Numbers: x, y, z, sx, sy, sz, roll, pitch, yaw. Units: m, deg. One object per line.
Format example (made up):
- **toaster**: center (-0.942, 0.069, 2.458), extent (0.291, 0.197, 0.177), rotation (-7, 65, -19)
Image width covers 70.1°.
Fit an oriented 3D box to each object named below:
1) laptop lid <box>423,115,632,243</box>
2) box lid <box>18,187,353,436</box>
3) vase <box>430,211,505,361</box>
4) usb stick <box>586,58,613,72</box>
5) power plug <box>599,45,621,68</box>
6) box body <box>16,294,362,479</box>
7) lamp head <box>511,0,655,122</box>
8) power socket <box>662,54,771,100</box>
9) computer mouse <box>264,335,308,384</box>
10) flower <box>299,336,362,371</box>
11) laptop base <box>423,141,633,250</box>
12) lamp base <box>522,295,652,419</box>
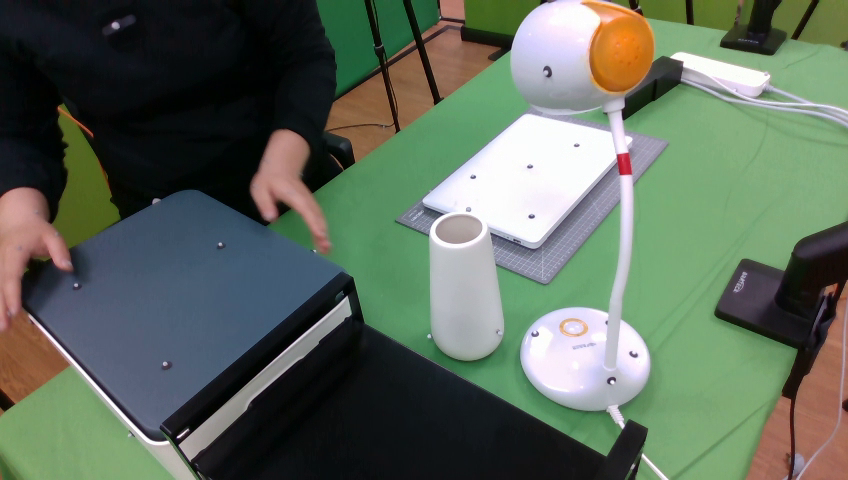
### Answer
- **laptop lid**: center (0.190, -0.126, 1.081), extent (0.239, 0.013, 0.358), rotation (23, 48, 34)
- **box lid**: center (-0.290, 0.056, 0.724), extent (0.368, 0.015, 0.264), rotation (25, 50, 33)
- **vase**: center (0.053, 0.062, 0.758), extent (0.098, 0.201, 0.097), rotation (-3, 40, 3)
- **usb stick**: center (0.401, -0.399, 1.380), extent (0.059, 0.027, 0.021), rotation (1, 48, 20)
- **power plug**: center (0.437, -0.422, 1.412), extent (0.053, 0.035, 0.072), rotation (-19, 75, -47)
- **box body**: center (-0.285, 0.123, 0.766), extent (0.361, 0.161, 0.255), rotation (25, 49, 33)
- **lamp head**: center (0.155, -0.168, 0.564), extent (0.113, 0.113, 0.122), rotation (-18, 23, -12)
- **power socket**: center (0.615, -0.348, 1.284), extent (0.072, 0.033, 0.225), rotation (-36, 48, -29)
- **computer mouse**: center (-0.160, 0.158, 0.791), extent (0.116, 0.041, 0.063), rotation (26, 46, 23)
- **flower**: center (-0.232, 0.115, 0.833), extent (0.359, 0.038, 0.044), rotation (11, 86, 34)
- **laptop base**: center (0.193, -0.117, 1.087), extent (0.233, 0.023, 0.355), rotation (21, 48, 34)
- **lamp base**: center (0.201, 0.095, 0.710), extent (0.161, 0.181, 0.177), rotation (-16, 43, -10)
